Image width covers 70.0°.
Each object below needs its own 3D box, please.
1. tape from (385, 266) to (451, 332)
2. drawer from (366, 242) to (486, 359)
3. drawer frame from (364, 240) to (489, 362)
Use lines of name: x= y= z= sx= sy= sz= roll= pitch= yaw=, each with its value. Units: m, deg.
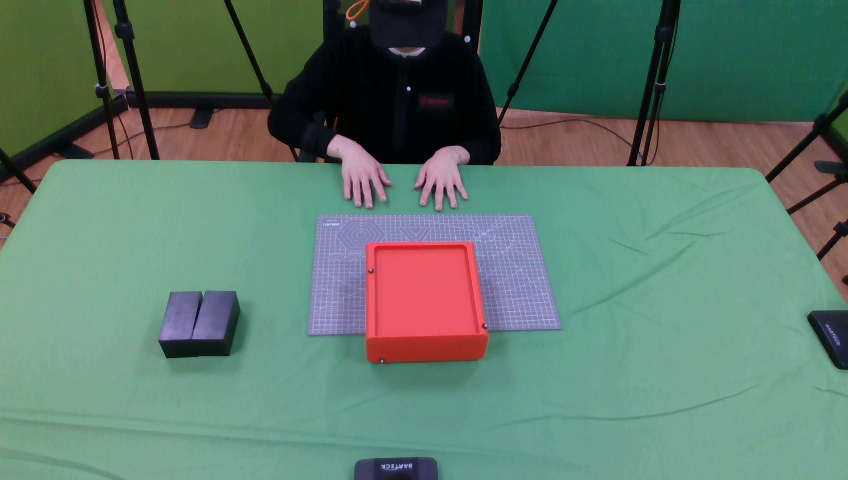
tape: x=-0.010 y=0.103 z=1.062 sx=0.117 sy=0.053 sz=0.116 roll=2 pitch=46 yaw=-2
drawer: x=-0.002 y=0.101 z=1.056 sx=0.195 sy=0.073 sz=0.210 roll=0 pitch=47 yaw=-5
drawer frame: x=-0.002 y=0.101 z=1.054 sx=0.202 sy=0.083 sz=0.212 roll=-1 pitch=47 yaw=-5
